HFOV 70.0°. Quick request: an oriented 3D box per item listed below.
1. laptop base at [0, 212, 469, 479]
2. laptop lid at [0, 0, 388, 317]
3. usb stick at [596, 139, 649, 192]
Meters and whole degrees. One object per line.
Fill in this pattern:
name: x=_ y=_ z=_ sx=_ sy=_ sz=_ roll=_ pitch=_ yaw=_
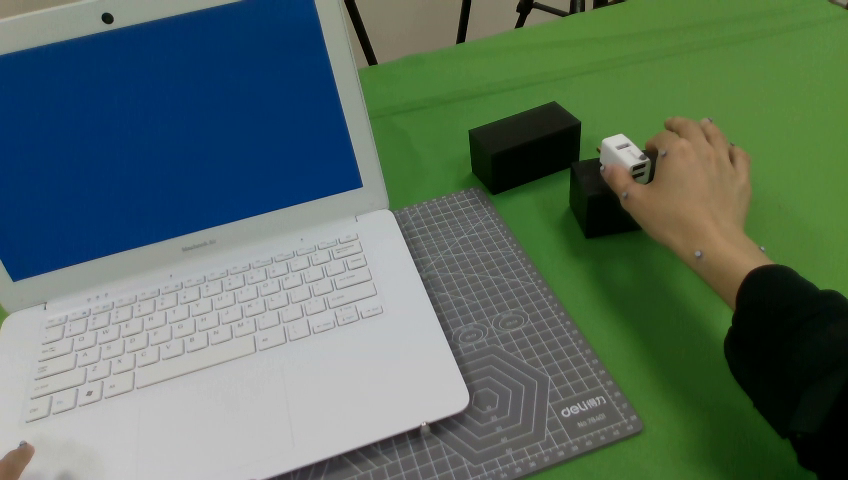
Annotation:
laptop base: x=-0.166 y=0.098 z=0.477 sx=0.355 sy=0.023 sz=0.232 roll=-16 pitch=45 yaw=-9
laptop lid: x=-0.221 y=-0.077 z=0.508 sx=0.357 sy=0.243 sz=0.013 roll=-18 pitch=28 yaw=-8
usb stick: x=0.169 y=-0.068 z=0.524 sx=0.021 sy=0.027 sz=0.058 roll=-19 pitch=39 yaw=-8
